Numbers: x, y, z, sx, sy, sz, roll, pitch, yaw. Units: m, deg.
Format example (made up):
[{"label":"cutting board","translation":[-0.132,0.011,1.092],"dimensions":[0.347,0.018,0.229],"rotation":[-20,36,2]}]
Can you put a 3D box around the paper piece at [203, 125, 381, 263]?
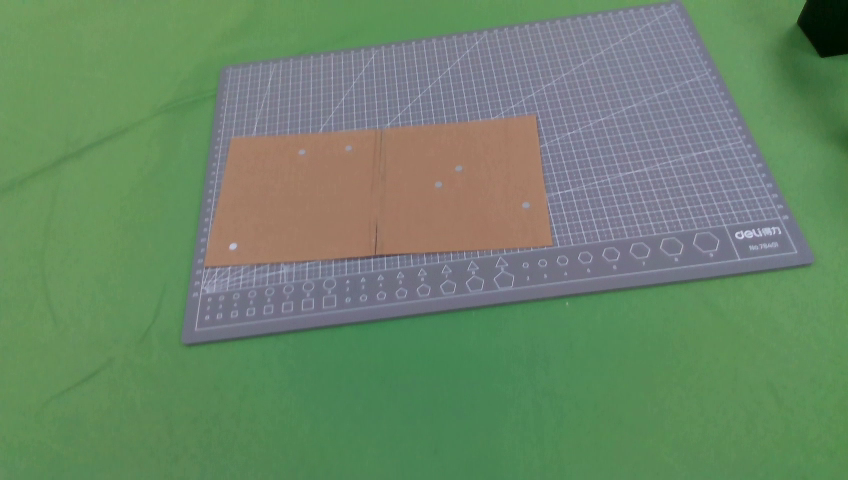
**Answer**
[{"label":"paper piece","translation":[-0.104,-0.043,0.498],"dimensions":[0.138,0.009,0.134],"rotation":[-3,53,6]}]

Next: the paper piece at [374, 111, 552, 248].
[{"label":"paper piece","translation":[0.029,-0.052,0.486],"dimensions":[0.135,0.004,0.134],"rotation":[-2,56,5]}]
